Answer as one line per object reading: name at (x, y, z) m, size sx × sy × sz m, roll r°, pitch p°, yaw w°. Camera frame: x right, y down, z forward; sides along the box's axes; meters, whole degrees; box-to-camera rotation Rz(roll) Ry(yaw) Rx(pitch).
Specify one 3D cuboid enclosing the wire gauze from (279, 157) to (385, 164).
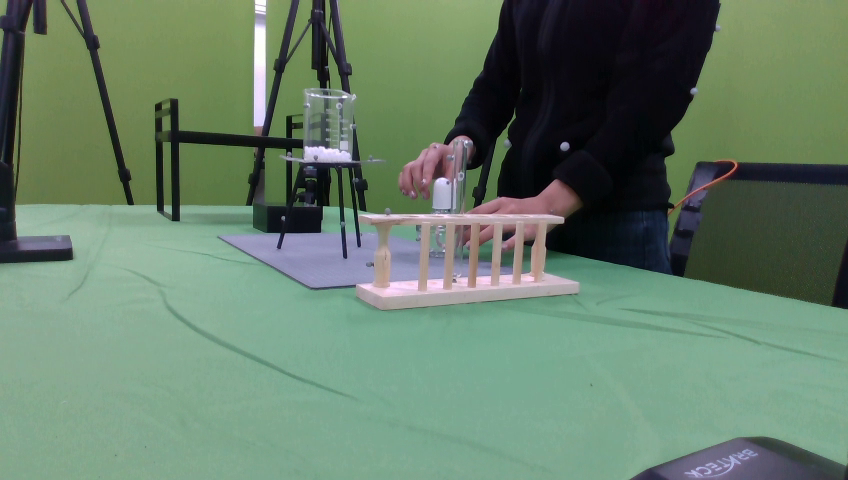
wire gauze at (-0.134, -0.113, 0.875) m, size 0.122 × 0.011 × 0.124 m, roll -1°, pitch 6°, yaw -30°

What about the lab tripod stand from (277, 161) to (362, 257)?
lab tripod stand at (-0.143, -0.049, 0.884) m, size 0.148 × 0.131 × 0.148 m, roll 1°, pitch 9°, yaw 0°

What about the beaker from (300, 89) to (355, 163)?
beaker at (-0.136, -0.161, 0.867) m, size 0.083 × 0.100 × 0.074 m, roll 5°, pitch 8°, yaw 24°

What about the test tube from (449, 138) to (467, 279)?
test tube at (0.035, -0.033, 0.645) m, size 0.017 × 0.150 × 0.017 m, roll 3°, pitch 4°, yaw 0°

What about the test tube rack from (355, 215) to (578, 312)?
test tube rack at (0.053, 0.018, 0.641) m, size 0.243 × 0.085 × 0.066 m, roll -1°, pitch 8°, yaw -29°

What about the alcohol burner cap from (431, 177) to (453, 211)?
alcohol burner cap at (0.027, -0.070, 0.899) m, size 0.034 × 0.048 × 0.034 m, roll 1°, pitch 14°, yaw 0°

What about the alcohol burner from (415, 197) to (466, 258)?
alcohol burner at (0.026, -0.033, 0.902) m, size 0.078 × 0.119 × 0.078 m, roll 2°, pitch 6°, yaw 0°
